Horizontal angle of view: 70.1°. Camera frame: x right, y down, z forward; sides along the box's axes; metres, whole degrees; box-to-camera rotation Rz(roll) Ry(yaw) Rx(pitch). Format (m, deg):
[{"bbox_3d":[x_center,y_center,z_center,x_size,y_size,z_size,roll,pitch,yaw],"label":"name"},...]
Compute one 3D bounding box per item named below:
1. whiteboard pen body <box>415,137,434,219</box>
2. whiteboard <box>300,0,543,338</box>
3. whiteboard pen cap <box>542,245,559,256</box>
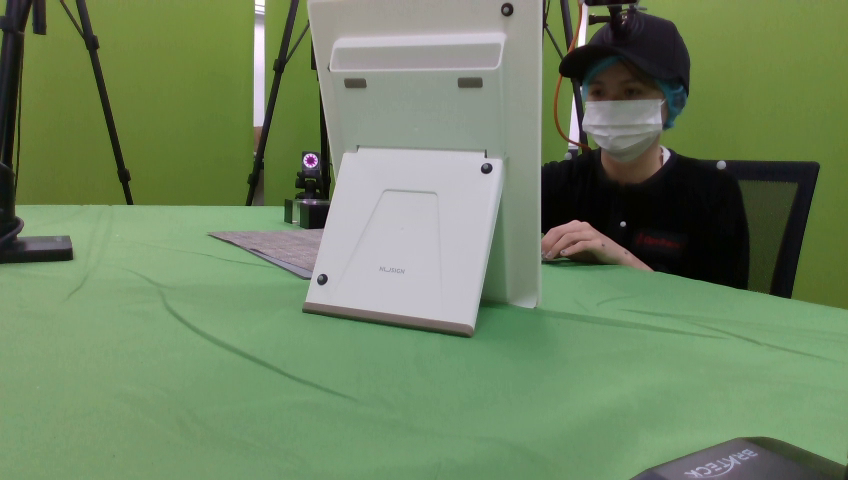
[{"bbox_3d":[0.000,-0.069,0.662,0.017,0.017,0.140,3,43,2],"label":"whiteboard pen body"},{"bbox_3d":[-0.020,-0.050,0.523,0.216,0.305,0.144,6,27,22],"label":"whiteboard"},{"bbox_3d":[0.186,0.015,0.909,0.033,0.018,0.018,-2,5,24],"label":"whiteboard pen cap"}]
